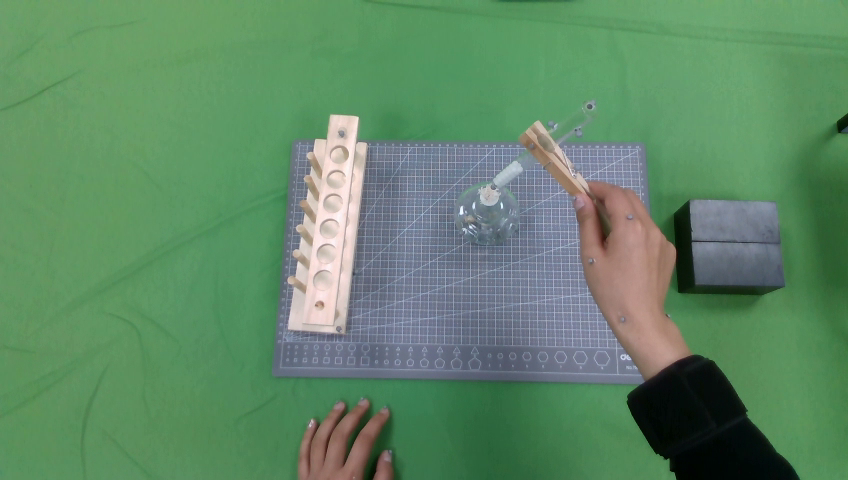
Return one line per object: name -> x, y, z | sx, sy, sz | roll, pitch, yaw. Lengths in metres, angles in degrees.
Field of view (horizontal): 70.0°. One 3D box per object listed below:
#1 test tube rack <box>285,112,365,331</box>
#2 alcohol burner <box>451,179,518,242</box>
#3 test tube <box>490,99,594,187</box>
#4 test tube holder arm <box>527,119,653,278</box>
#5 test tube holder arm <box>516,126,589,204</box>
test tube rack -> -0.120, -0.021, 0.705 | 0.067, 0.085, 0.241 | 5, 76, 2
alcohol burner -> 0.070, -0.038, 0.692 | 0.078, 0.119, 0.077 | 0, 76, 2
test tube -> 0.102, -0.084, 0.555 | 0.017, 0.150, 0.017 | 10, 67, -23
test tube holder arm -> 0.152, -0.037, 0.555 | 0.013, 0.015, 0.178 | -41, 93, -26
test tube holder arm -> 0.118, -0.067, 0.550 | 0.088, 0.015, 0.010 | 44, 64, -5
